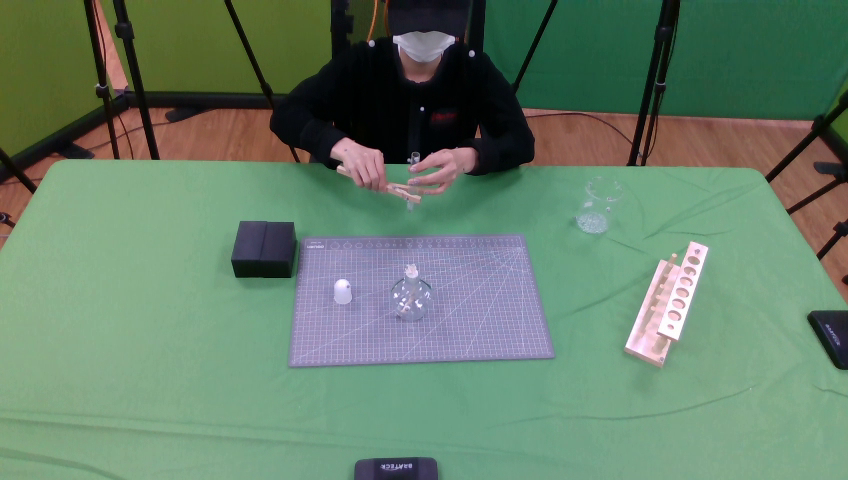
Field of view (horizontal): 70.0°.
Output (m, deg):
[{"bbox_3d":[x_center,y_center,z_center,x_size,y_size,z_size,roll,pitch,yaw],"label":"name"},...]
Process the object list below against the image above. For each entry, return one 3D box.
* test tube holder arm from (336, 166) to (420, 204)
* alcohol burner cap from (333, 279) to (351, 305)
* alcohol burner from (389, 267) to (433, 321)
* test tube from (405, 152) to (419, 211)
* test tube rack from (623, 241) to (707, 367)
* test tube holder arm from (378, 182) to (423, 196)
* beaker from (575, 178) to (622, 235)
[{"bbox_3d":[-0.090,-0.107,1.175,0.178,0.015,0.013,20,48,9],"label":"test tube holder arm"},{"bbox_3d":[-0.147,0.090,1.083,0.034,0.048,0.033,2,47,-2],"label":"alcohol burner cap"},{"bbox_3d":[-0.022,0.085,1.046,0.078,0.119,0.077,2,48,-2],"label":"alcohol burner"},{"bbox_3d":[-0.023,-0.107,1.143,0.017,0.151,0.017,4,51,-4],"label":"test tube"},{"bbox_3d":[0.435,0.104,1.089,0.066,0.085,0.242,24,49,18],"label":"test tube rack"},{"bbox_3d":[-0.046,-0.099,1.174,0.088,0.015,0.010,8,48,-1],"label":"test tube holder arm"},{"bbox_3d":[0.356,-0.068,1.239,0.084,0.101,0.073,-18,50,-21],"label":"beaker"}]
